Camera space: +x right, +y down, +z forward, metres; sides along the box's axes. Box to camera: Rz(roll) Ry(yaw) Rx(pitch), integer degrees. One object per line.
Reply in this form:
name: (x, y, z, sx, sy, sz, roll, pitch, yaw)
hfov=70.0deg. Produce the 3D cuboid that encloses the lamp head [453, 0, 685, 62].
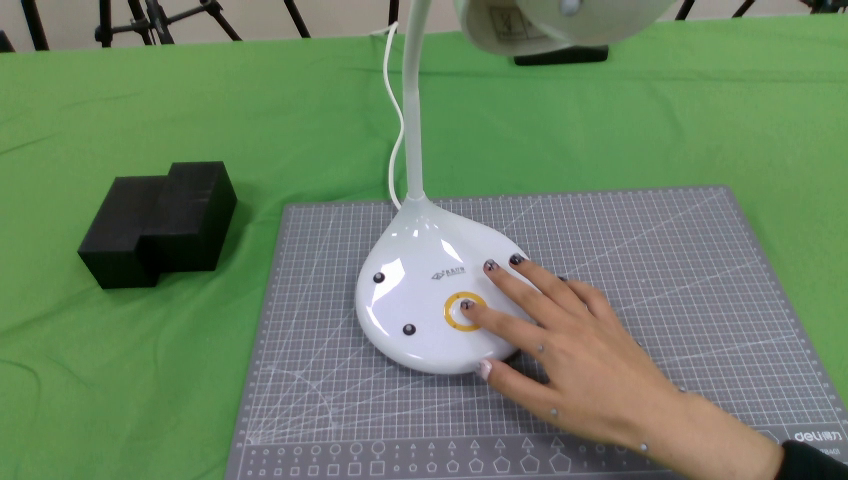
lamp head: (0.047, -0.138, 0.208, 0.112, 0.113, 0.122, -17, 78, -13)

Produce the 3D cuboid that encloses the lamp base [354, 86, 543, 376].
lamp base: (0.011, -0.014, 0.470, 0.161, 0.182, 0.177, -23, 47, -18)
